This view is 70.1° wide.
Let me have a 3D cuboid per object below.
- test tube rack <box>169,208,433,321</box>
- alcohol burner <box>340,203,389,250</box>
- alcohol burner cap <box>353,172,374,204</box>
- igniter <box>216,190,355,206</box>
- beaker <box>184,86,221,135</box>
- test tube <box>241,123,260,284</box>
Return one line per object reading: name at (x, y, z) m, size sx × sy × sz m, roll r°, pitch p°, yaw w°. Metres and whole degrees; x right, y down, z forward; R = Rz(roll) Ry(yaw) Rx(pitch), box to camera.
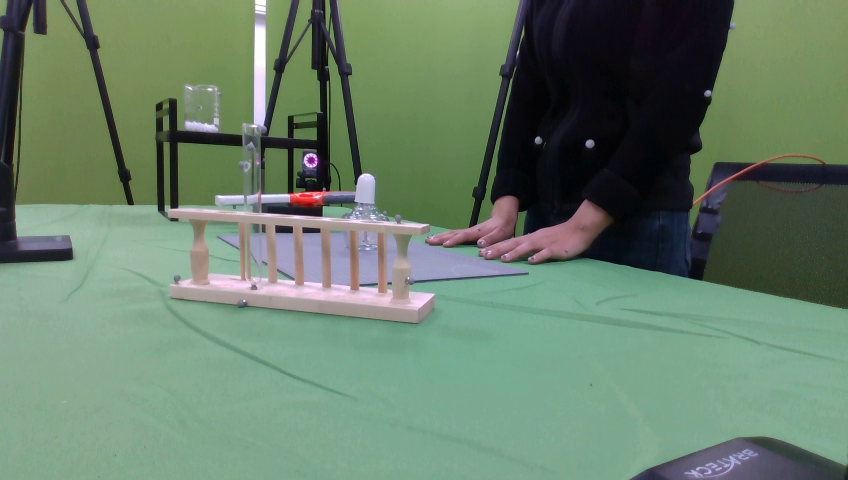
test tube rack at (-0.115, 0.018, 0.574) m, size 0.242 × 0.085 × 0.067 m, roll 4°, pitch 8°, yaw 13°
alcohol burner at (-0.093, -0.045, 0.939) m, size 0.078 × 0.119 × 0.078 m, roll 0°, pitch 7°, yaw 0°
alcohol burner cap at (-0.092, -0.081, 0.936) m, size 0.034 × 0.048 × 0.034 m, roll 6°, pitch 10°, yaw -1°
igniter at (-0.248, -0.079, 1.152) m, size 0.278 × 0.025 × 0.057 m, roll -4°, pitch 11°, yaw -27°
beaker at (-0.475, -0.277, 1.296) m, size 0.074 × 0.100 × 0.084 m, roll 2°, pitch 8°, yaw -1°
test tube at (-0.160, -0.032, 0.558) m, size 0.017 × 0.150 × 0.017 m, roll 3°, pitch 13°, yaw 0°
